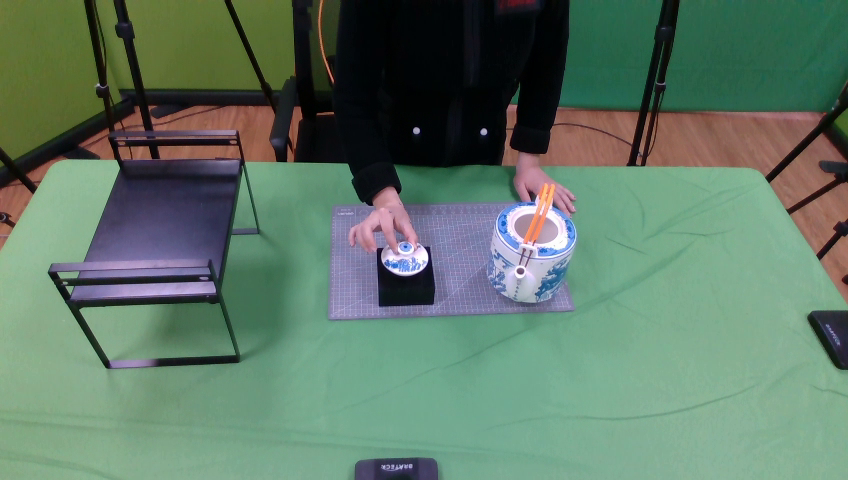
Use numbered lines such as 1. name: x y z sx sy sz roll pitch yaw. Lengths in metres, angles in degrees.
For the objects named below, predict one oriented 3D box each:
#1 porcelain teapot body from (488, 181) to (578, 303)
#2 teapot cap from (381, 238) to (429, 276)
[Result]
1. porcelain teapot body: 0.185 0.018 1.048 0.145 0.226 0.204 15 48 10
2. teapot cap: -0.033 0.025 1.072 0.085 0.044 0.084 3 50 -4
